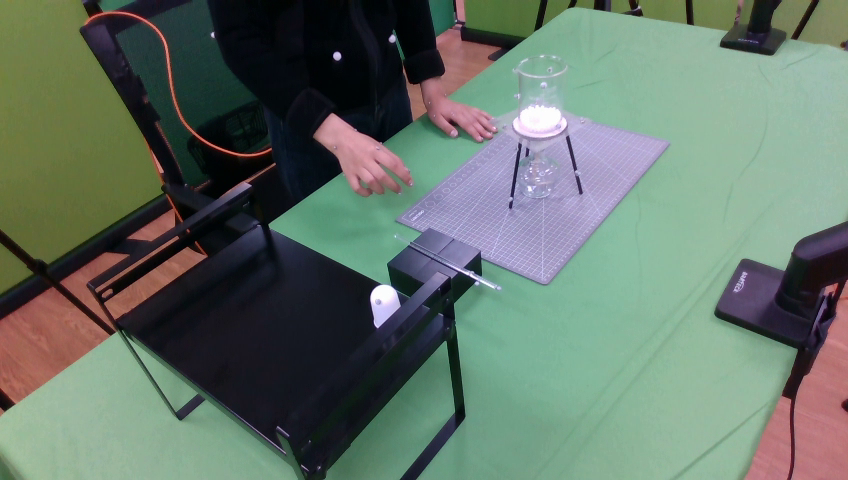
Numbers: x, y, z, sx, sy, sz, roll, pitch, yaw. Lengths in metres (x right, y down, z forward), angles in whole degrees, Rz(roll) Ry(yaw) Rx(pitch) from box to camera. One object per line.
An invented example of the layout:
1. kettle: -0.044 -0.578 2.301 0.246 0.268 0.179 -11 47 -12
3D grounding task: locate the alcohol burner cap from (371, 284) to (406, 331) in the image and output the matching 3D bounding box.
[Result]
1. alcohol burner cap: -0.037 0.065 0.608 0.034 0.048 0.033 -4 41 4

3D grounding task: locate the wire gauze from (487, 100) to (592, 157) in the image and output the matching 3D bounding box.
1. wire gauze: 0.185 -0.187 0.974 0.122 0.011 0.124 -28 47 -22

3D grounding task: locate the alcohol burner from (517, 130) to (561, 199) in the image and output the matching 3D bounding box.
1. alcohol burner: 0.193 -0.131 1.026 0.078 0.119 0.077 -4 38 4

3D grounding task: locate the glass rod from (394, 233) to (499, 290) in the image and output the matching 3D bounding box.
1. glass rod: 0.028 0.029 0.874 0.198 0.008 0.008 27 51 34

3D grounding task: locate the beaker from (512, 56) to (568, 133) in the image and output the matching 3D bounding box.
1. beaker: 0.181 -0.225 0.946 0.084 0.101 0.074 3 41 12

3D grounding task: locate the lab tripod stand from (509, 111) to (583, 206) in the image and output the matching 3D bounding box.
1. lab tripod stand: 0.198 -0.139 1.019 0.148 0.132 0.147 -3 39 3
